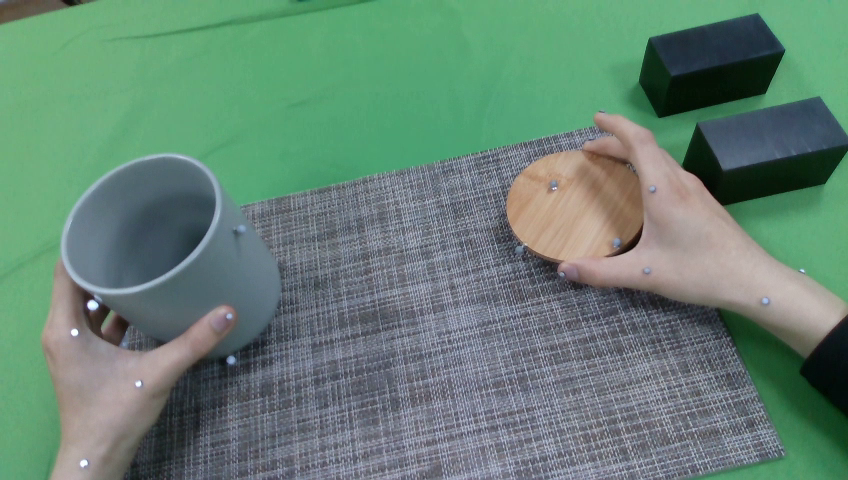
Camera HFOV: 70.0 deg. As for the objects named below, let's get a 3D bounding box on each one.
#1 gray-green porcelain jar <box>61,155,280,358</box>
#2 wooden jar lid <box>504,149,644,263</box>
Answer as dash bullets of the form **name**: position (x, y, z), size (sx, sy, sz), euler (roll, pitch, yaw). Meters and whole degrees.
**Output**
- **gray-green porcelain jar**: position (-0.168, 0.020, 0.432), size (0.106, 0.128, 0.105), euler (-4, 59, 7)
- **wooden jar lid**: position (0.119, -0.026, 0.486), size (0.108, 0.021, 0.107), euler (-6, 59, 10)
